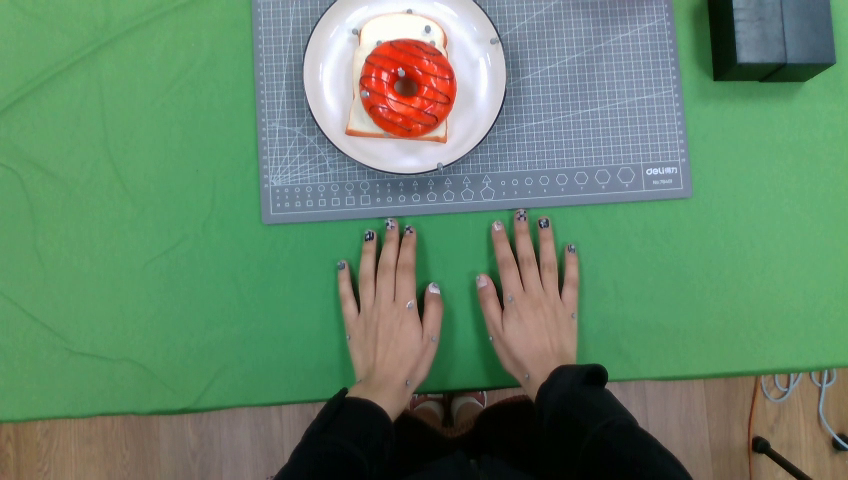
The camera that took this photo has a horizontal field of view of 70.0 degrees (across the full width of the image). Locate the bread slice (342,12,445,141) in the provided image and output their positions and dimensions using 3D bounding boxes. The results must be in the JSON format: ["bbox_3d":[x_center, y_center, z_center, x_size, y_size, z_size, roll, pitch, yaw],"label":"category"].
[{"bbox_3d":[-0.029,-0.171,0.627,0.105,0.019,0.131,3,86,-2],"label":"bread slice"}]

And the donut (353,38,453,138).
[{"bbox_3d":[-0.021,-0.149,0.596,0.099,0.048,0.099,0,89,-4],"label":"donut"}]

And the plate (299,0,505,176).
[{"bbox_3d":[-0.022,-0.166,0.624,0.209,0.038,0.208,0,85,-1],"label":"plate"}]
